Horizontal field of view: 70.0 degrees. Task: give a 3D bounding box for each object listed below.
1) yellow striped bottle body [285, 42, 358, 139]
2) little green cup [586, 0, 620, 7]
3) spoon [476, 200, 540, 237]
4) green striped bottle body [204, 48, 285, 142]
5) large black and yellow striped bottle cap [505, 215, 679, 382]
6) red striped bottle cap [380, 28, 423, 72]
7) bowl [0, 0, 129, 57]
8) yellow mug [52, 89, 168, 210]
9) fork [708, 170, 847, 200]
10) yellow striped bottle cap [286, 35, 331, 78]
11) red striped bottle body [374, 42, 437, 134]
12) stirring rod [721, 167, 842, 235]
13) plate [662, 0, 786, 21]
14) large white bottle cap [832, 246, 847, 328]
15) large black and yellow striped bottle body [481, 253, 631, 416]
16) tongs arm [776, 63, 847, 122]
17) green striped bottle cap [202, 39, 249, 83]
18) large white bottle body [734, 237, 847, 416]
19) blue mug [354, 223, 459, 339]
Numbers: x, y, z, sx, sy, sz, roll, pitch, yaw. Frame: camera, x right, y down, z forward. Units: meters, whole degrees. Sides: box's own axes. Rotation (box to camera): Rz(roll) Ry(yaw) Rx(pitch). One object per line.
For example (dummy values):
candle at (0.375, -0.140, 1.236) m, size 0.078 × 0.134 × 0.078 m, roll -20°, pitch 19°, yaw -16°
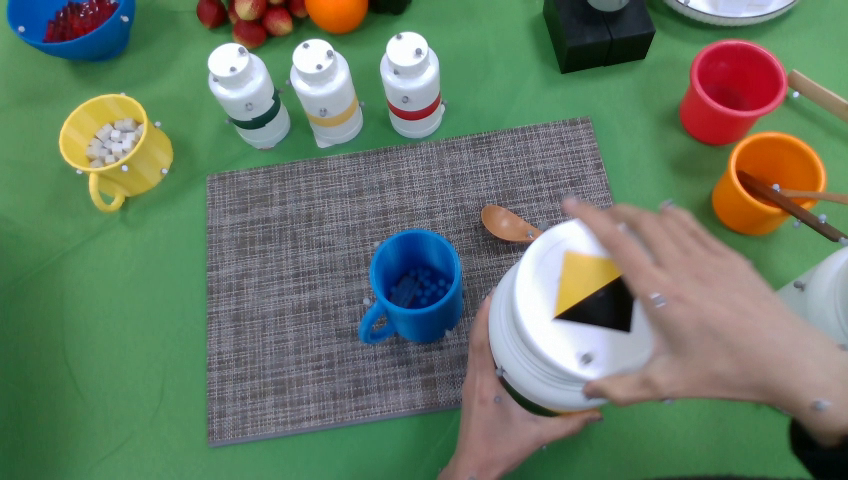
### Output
yellow striped bottle body at (-0.113, -0.169, 0.669) m, size 0.063 × 0.121 × 0.062 m, roll -1°, pitch 68°, yaw 4°
little green cup at (0.206, -0.299, 0.689) m, size 0.061 × 0.039 × 0.061 m, roll -1°, pitch 66°, yaw 2°
spoon at (0.145, 0.002, 0.635) m, size 0.193 × 0.022 × 0.041 m, roll 20°, pitch 50°, yaw 10°
green striped bottle body at (-0.201, -0.165, 0.673) m, size 0.063 × 0.120 × 0.062 m, roll -1°, pitch 68°, yaw 3°
large black and yellow striped bottle cap at (0.113, 0.037, 0.410) m, size 0.115 × 0.019 × 0.114 m, roll 0°, pitch 69°, yaw -1°
red striped bottle cap at (-0.023, -0.194, 0.616) m, size 0.044 × 0.018 × 0.044 m, roll 0°, pitch 66°, yaw 0°
bowl at (-0.432, -0.284, 0.755) m, size 0.151 × 0.077 × 0.150 m, roll -1°, pitch 69°, yaw 3°
yellow mug at (-0.356, -0.097, 0.685) m, size 0.100 × 0.064 × 0.130 m, roll 0°, pitch 69°, yaw 4°
fork at (0.366, -0.045, 0.575) m, size 0.028 × 0.019 × 0.205 m, roll -37°, pitch 26°, yaw -18°
yellow striped bottle cap at (-0.118, -0.188, 0.620) m, size 0.044 × 0.019 × 0.044 m, roll 1°, pitch 64°, yaw -1°
red striped bottle body at (-0.019, -0.174, 0.666) m, size 0.063 × 0.120 × 0.062 m, roll -1°, pitch 68°, yaw 4°
stirring rod at (0.337, -0.042, 0.584) m, size 0.014 × 0.006 × 0.174 m, roll -6°, pitch 25°, yaw -2°
plate at (0.364, -0.353, 0.755) m, size 0.209 × 0.038 × 0.207 m, roll -1°, pitch 69°, yaw 3°
large white bottle cap at (0.356, 0.041, 0.432) m, size 0.115 × 0.018 × 0.114 m, roll -1°, pitch 68°, yaw 3°
large black and yellow striped bottle body at (0.116, 0.077, 0.520) m, size 0.131 × 0.185 × 0.130 m, roll -1°, pitch 68°, yaw 4°
tongs arm at (0.558, -0.087, 0.641) m, size 0.382 × 0.027 × 0.050 m, roll 41°, pitch 73°, yaw 16°
green striped bottle cap at (-0.205, -0.185, 0.625) m, size 0.044 × 0.020 × 0.044 m, roll -1°, pitch 67°, yaw 4°
large white bottle body at (0.362, 0.073, 0.511) m, size 0.130 × 0.186 × 0.129 m, roll -1°, pitch 68°, yaw 3°
blue mug at (-0.021, 0.052, 0.581) m, size 0.116 × 0.106 × 0.082 m, roll -41°, pitch 71°, yaw -12°
